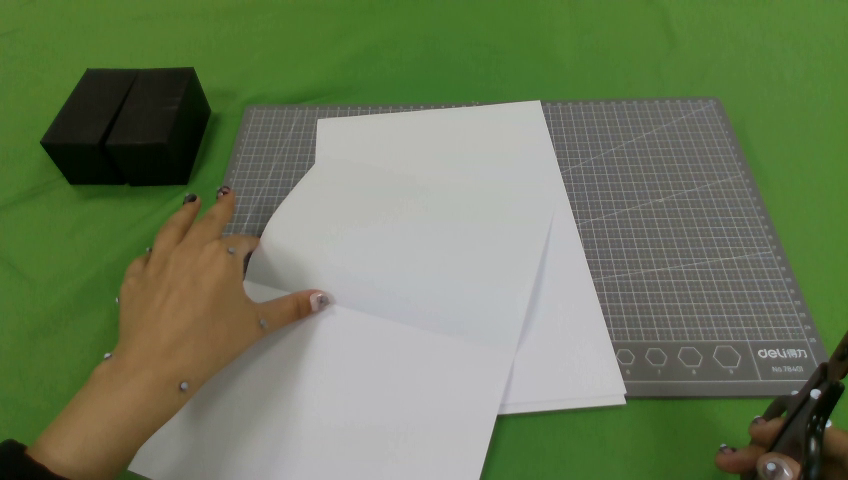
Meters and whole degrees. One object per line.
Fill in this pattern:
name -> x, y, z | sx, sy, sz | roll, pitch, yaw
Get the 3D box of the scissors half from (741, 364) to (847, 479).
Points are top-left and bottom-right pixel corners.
scissors half -> 0.205, 0.063, 0.304 | 0.012, 0.176, 0.040 | 25, 33, 18

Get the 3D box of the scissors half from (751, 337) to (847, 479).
scissors half -> 0.196, 0.069, 0.286 | 0.013, 0.175, 0.040 | 22, 17, 13
